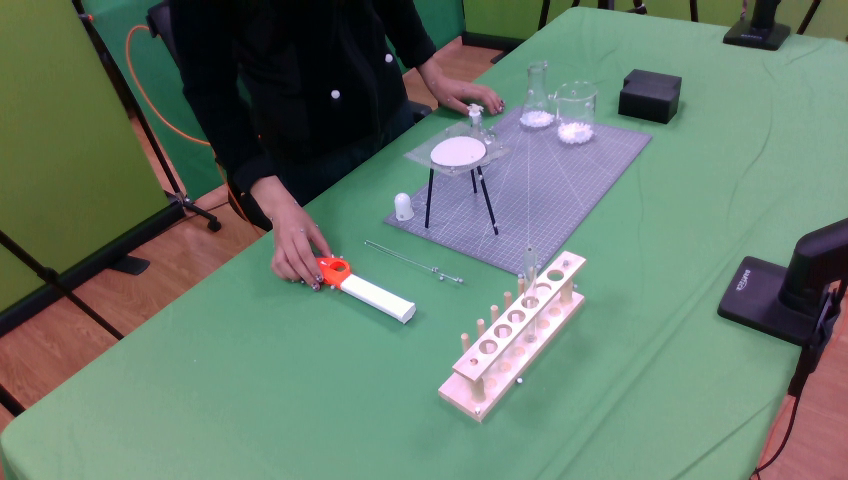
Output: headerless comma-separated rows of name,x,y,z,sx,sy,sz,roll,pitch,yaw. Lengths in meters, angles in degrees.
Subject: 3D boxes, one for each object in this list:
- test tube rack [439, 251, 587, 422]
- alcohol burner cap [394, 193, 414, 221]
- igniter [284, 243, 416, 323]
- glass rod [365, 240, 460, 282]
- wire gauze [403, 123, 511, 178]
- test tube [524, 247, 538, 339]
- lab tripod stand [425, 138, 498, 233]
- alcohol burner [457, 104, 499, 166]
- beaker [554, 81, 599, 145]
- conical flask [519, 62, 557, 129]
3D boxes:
test tube rack,0.118,0.111,0.780,0.066,0.085,0.243,26,51,35
alcohol burner cap,-0.036,-0.059,1.040,0.034,0.048,0.033,-5,41,5
igniter,-0.125,0.060,0.932,0.274,0.025,0.057,23,51,34
glass rod,-0.022,0.032,0.961,0.198,0.008,0.008,21,49,35
wire gauze,0.051,-0.140,0.943,0.125,0.011,0.120,-30,43,-24
test tube,0.133,0.070,0.749,0.017,0.151,0.017,-5,38,4
lab tripod stand,0.063,-0.091,0.988,0.148,0.132,0.147,-6,38,6
alcohol burner,0.099,-0.198,1.124,0.078,0.119,0.077,-5,39,4
beaker,0.286,-0.237,1.144,0.084,0.101,0.073,-17,40,-7
conical flask,0.225,-0.288,1.198,0.075,0.122,0.075,-6,40,5
